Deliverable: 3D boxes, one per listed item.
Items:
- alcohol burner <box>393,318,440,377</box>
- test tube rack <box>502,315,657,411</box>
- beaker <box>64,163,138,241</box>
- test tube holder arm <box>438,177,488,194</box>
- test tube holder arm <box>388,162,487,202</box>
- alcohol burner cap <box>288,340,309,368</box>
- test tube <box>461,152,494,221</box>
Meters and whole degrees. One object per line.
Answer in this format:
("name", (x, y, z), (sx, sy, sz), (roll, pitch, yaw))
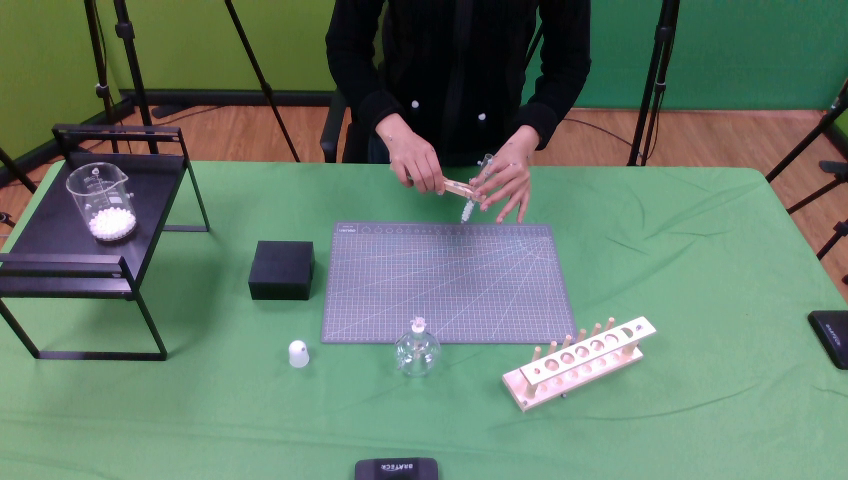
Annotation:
("alcohol burner", (-0.011, 0.166, 0.971), (0.078, 0.120, 0.077), (1, 45, -1))
("test tube rack", (0.253, 0.186, 0.988), (0.242, 0.085, 0.066), (-18, 50, -20))
("beaker", (-0.477, -0.055, 0.910), (0.084, 0.101, 0.073), (-9, 48, -13))
("test tube holder arm", (0.067, -0.093, 1.053), (0.088, 0.015, 0.010), (12, 40, -2))
("test tube holder arm", (0.023, -0.102, 1.051), (0.178, 0.015, 0.013), (18, 39, 6))
("alcohol burner cap", (-0.207, 0.183, 0.991), (0.034, 0.048, 0.033), (3, 46, -3))
("test tube", (0.090, -0.089, 1.042), (0.017, 0.151, 0.017), (10, 44, -9))
